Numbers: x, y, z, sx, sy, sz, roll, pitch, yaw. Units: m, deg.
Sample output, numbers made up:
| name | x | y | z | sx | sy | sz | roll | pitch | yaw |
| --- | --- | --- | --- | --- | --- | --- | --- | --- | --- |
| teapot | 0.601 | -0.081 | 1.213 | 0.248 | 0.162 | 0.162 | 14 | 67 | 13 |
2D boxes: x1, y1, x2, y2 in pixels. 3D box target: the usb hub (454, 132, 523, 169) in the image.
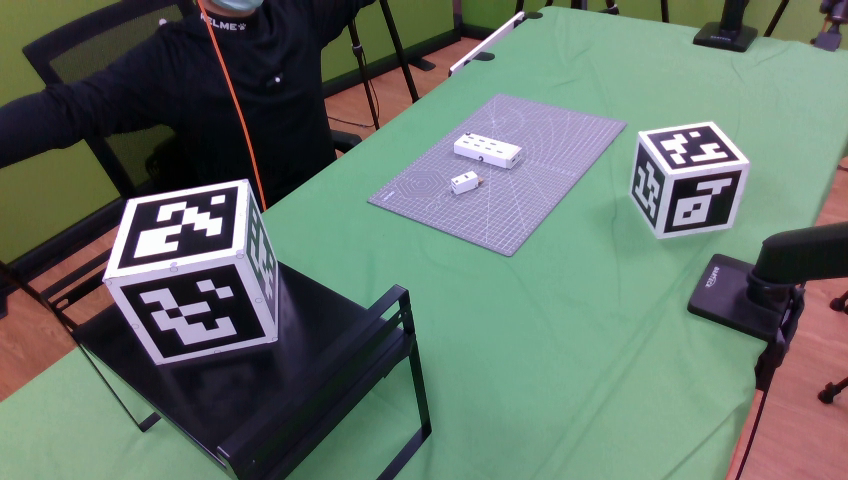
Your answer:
| name | x | y | z | sx | sy | sz | roll | pitch | yaw |
| --- | --- | --- | --- | --- | --- | --- | --- | --- | --- |
| usb hub | 0.121 | -0.170 | 1.144 | 0.124 | 0.025 | 0.049 | 22 | 48 | 29 |

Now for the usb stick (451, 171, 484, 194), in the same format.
| name | x | y | z | sx | sy | sz | roll | pitch | yaw |
| --- | --- | --- | --- | --- | --- | --- | --- | --- | --- |
| usb stick | 0.079 | -0.104 | 1.072 | 0.059 | 0.027 | 0.021 | -20 | 42 | -18 |
